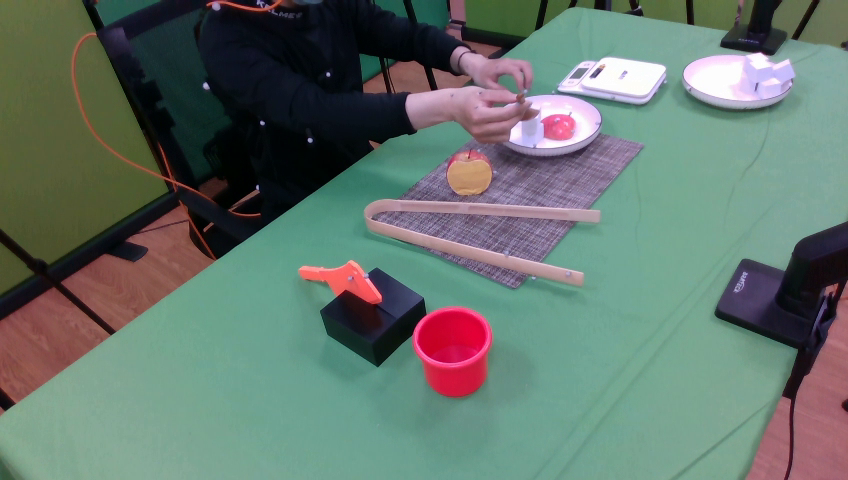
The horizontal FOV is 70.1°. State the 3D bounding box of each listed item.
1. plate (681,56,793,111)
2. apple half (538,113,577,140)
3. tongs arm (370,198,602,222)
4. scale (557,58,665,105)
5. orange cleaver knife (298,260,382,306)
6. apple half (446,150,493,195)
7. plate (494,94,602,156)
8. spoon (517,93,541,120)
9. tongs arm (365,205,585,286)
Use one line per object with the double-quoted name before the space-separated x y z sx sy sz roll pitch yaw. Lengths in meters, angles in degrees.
"plate" 0.636 -0.317 1.239 0.207 0.039 0.206 -4 40 4
"apple half" 0.261 -0.228 1.178 0.081 0.033 0.081 -2 41 2
"tongs arm" 0.097 -0.048 1.008 0.386 0.028 0.028 3 46 13
"scale" 0.407 -0.348 1.314 0.199 0.032 0.149 19 47 28
"orange cleaver knife" -0.125 0.063 0.876 0.012 0.077 0.210 -38 19 -30
"apple half" 0.080 -0.124 1.065 0.081 0.075 0.053 -7 36 6
"plate" 0.240 -0.221 1.181 0.209 0.038 0.208 -4 41 4
"spoon" 0.165 -0.219 0.983 0.041 0.021 0.194 -21 -6 15
"tongs arm" 0.067 0.004 0.951 0.382 0.026 0.051 13 46 23
